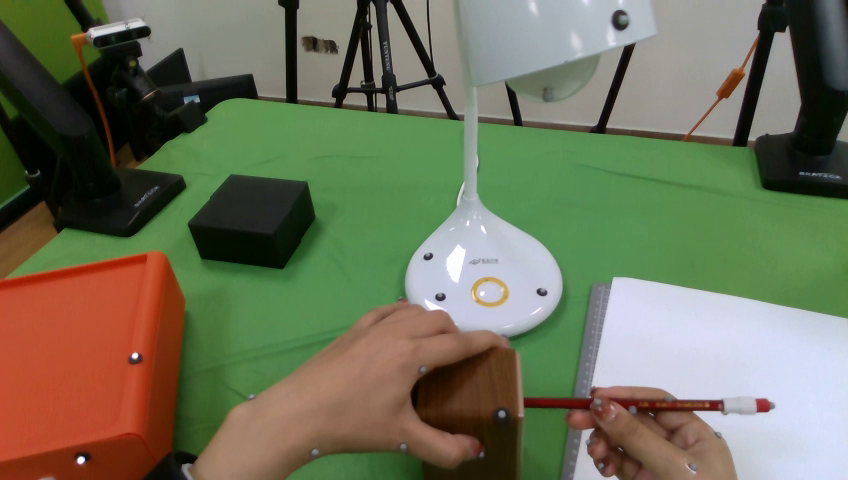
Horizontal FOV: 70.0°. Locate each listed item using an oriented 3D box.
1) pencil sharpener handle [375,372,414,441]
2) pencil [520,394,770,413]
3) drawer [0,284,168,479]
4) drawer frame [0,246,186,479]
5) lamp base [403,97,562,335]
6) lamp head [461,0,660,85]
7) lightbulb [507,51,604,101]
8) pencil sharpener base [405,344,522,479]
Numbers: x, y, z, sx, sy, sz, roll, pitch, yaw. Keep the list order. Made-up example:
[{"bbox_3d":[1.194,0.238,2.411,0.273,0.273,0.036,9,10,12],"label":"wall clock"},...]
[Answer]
[{"bbox_3d":[-0.023,0.123,0.434,0.030,0.068,0.035,-1,40,5],"label":"pencil sharpener handle"},{"bbox_3d":[0.126,0.108,0.406,0.194,0.012,0.012,-2,39,9],"label":"pencil"},{"bbox_3d":[-0.314,0.117,0.504,0.195,0.074,0.209,-11,39,-8],"label":"drawer"},{"bbox_3d":[-0.316,0.115,0.505,0.202,0.083,0.211,-12,39,-9],"label":"drawer frame"},{"bbox_3d":[0.051,-0.031,0.578,0.161,0.182,0.177,-11,37,-8],"label":"lamp base"},{"bbox_3d":[0.067,-0.161,0.351,0.112,0.123,0.112,-17,10,4],"label":"lamp head"},{"bbox_3d":[0.073,-0.136,0.351,0.059,0.108,0.059,-6,15,2],"label":"lightbulb"},{"bbox_3d":[0.029,0.131,0.438,0.076,0.108,0.061,-1,40,5],"label":"pencil sharpener base"}]
